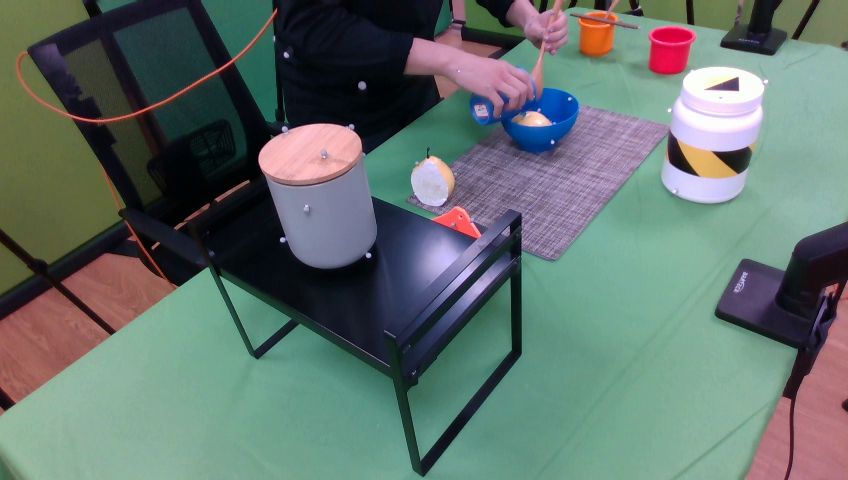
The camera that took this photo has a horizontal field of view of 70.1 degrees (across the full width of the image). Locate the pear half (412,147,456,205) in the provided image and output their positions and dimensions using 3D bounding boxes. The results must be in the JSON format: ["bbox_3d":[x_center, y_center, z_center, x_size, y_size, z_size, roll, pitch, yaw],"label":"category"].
[{"bbox_3d":[0.019,-0.120,1.042,0.076,0.110,0.056,11,44,16],"label":"pear half"}]

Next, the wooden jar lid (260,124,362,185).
[{"bbox_3d":[-0.119,-0.088,0.645,0.108,0.021,0.108,-4,40,4],"label":"wooden jar lid"}]

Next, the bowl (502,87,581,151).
[{"bbox_3d":[0.220,-0.223,1.155,0.151,0.077,0.150,-4,40,4],"label":"bowl"}]

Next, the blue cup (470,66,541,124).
[{"bbox_3d":[0.139,-0.255,1.088,0.100,0.093,0.092,-30,45,-24],"label":"blue cup"}]

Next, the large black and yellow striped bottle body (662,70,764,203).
[{"bbox_3d":[0.464,-0.166,0.976,0.131,0.185,0.130,-5,41,5],"label":"large black and yellow striped bottle body"}]

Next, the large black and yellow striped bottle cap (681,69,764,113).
[{"bbox_3d":[0.453,-0.229,0.921,0.115,0.019,0.114,-4,39,4],"label":"large black and yellow striped bottle cap"}]

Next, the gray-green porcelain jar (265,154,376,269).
[{"bbox_3d":[-0.112,-0.039,0.686,0.106,0.127,0.105,-4,40,4],"label":"gray-green porcelain jar"}]

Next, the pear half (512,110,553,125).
[{"bbox_3d":[0.212,-0.228,1.152,0.088,0.031,0.070,8,47,10],"label":"pear half"}]

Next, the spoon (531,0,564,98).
[{"bbox_3d":[0.219,-0.345,1.107,0.042,0.193,0.021,12,14,-7],"label":"spoon"}]

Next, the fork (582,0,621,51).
[{"bbox_3d":[0.446,-0.539,1.438,0.207,0.019,0.028,-57,36,12],"label":"fork"}]

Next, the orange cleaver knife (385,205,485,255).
[{"bbox_3d":[0.012,-0.010,0.942,0.012,0.077,0.210,-36,19,-35],"label":"orange cleaver knife"}]

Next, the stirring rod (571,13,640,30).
[{"bbox_3d":[0.419,-0.508,1.404,0.174,0.006,0.014,28,55,35],"label":"stirring rod"}]
